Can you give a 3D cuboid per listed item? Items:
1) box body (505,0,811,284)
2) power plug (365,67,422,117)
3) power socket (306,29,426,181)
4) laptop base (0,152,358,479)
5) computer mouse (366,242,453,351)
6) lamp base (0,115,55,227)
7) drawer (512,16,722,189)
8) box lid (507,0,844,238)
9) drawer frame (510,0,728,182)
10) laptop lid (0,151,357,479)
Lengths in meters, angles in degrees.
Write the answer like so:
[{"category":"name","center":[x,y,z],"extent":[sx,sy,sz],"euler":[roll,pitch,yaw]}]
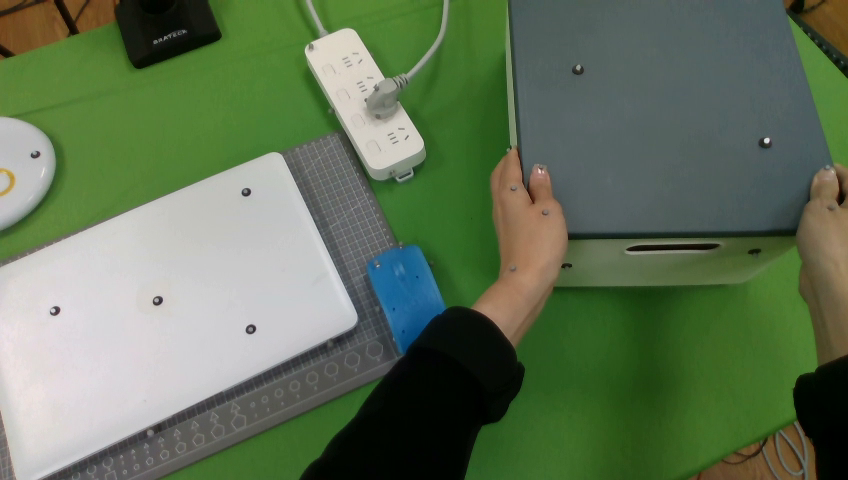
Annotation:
[{"category":"box body","center":[0.217,-0.139,0.634],"extent":[0.254,0.161,0.361],"euler":[-1,66,2]},{"category":"power plug","center":[-0.032,-0.164,0.702],"extent":[0.072,0.053,0.035],"euler":[-15,64,-6]},{"category":"power socket","center":[-0.073,-0.167,0.731],"extent":[0.072,0.033,0.225],"euler":[-25,67,-10]},{"category":"laptop base","center":[-0.273,0.065,0.642],"extent":[0.354,0.023,0.233],"euler":[-25,71,-9]},{"category":"computer mouse","center":[-0.017,0.055,0.623],"extent":[0.063,0.041,0.116],"euler":[-21,62,-5]},{"category":"lamp base","center":[-0.532,-0.116,0.647],"extent":[0.178,0.182,0.160],"euler":[22,68,15]},{"category":"drawer","center":[0.208,-0.163,0.698],"extent":[0.194,0.074,0.209],"euler":[-3,56,4]},{"category":"box lid","center":[0.213,-0.173,0.566],"extent":[0.263,0.015,0.368],"euler":[-1,66,2]},{"category":"drawer frame","center":[0.205,-0.171,0.684],"extent":[0.202,0.083,0.211],"euler":[-1,59,0]},{"category":"laptop lid","center":[-0.272,0.062,0.631],"extent":[0.357,0.013,0.239],"euler":[-24,69,-8]}]
